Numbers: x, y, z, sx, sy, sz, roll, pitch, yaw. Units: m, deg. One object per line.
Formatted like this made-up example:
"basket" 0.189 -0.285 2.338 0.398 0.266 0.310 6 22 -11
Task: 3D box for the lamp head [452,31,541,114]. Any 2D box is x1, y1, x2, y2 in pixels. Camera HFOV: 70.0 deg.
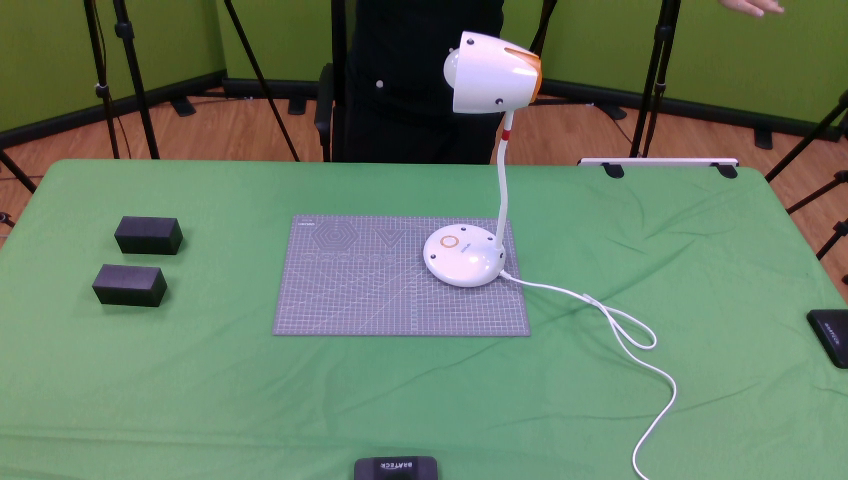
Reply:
"lamp head" 0.102 -0.228 0.858 0.123 0.113 0.112 11 46 0

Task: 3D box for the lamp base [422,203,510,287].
"lamp base" 0.092 -0.021 1.111 0.179 0.181 0.160 23 49 14
